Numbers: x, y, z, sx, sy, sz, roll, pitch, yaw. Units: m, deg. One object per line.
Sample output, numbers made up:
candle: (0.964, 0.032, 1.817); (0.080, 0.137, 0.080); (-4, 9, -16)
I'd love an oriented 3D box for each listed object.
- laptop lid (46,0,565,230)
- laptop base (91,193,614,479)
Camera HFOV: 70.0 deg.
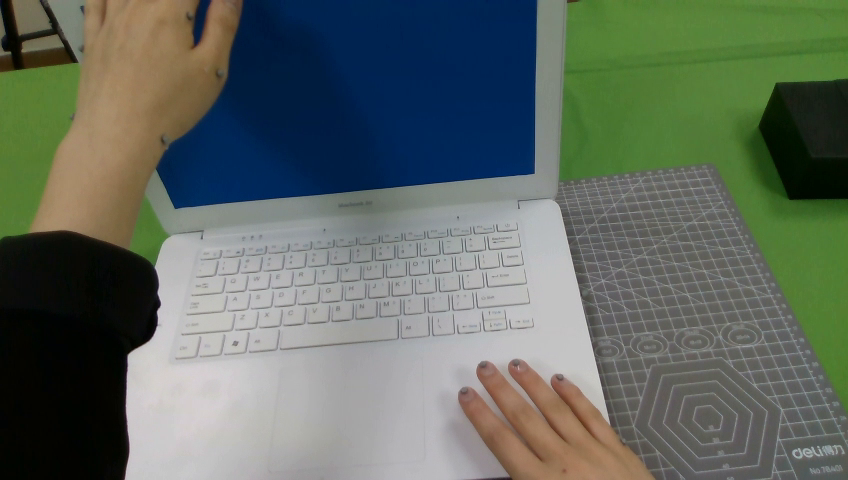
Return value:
laptop lid: (-0.072, -0.110, 0.465); (0.356, 0.244, 0.013); (-7, 42, 4)
laptop base: (-0.055, 0.070, 0.470); (0.354, 0.023, 0.233); (-5, 54, 3)
